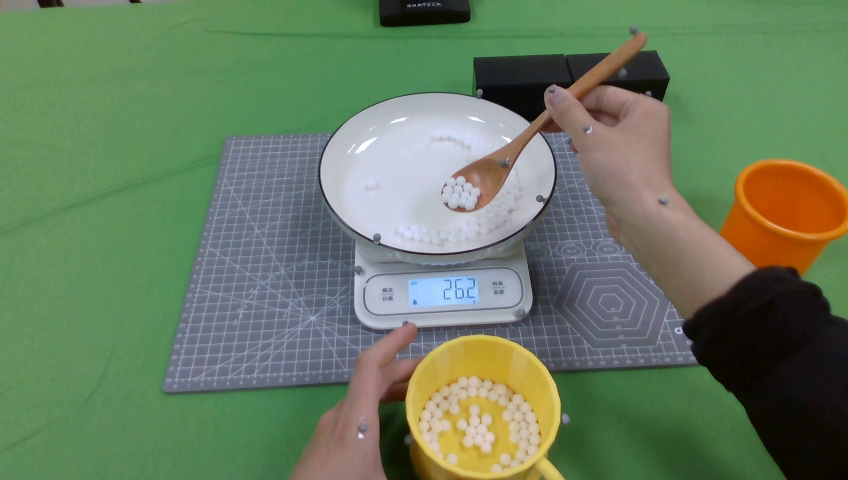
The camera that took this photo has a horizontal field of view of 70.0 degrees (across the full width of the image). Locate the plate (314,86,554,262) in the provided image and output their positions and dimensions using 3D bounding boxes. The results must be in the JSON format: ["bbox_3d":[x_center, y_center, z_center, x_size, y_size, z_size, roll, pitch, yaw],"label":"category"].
[{"bbox_3d":[0.008,-0.060,0.538,0.209,0.038,0.207,0,51,0],"label":"plate"}]

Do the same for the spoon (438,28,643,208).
[{"bbox_3d":[0.088,-0.092,0.461,0.194,0.022,0.041,-42,58,14],"label":"spoon"}]

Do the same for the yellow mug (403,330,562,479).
[{"bbox_3d":[0.047,0.129,0.408,0.100,0.064,0.129,-36,60,-25],"label":"yellow mug"}]

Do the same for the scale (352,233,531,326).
[{"bbox_3d":[0.010,-0.017,0.545,0.149,0.032,0.199,-3,51,-1],"label":"scale"}]
